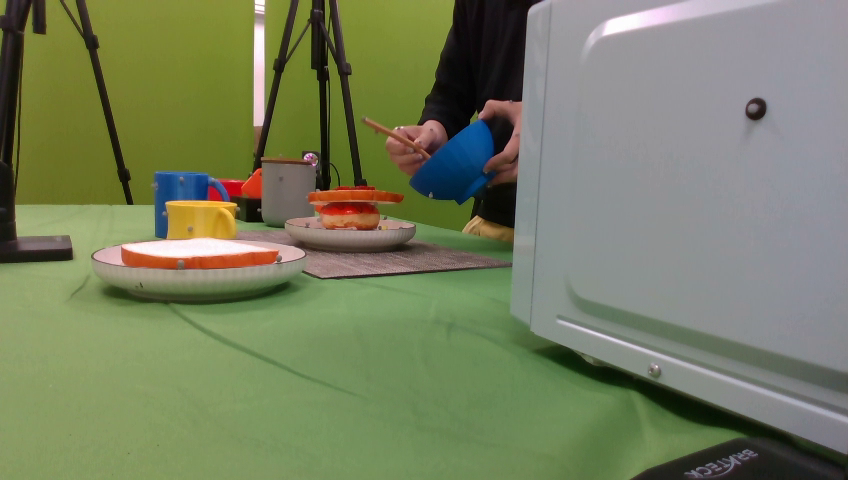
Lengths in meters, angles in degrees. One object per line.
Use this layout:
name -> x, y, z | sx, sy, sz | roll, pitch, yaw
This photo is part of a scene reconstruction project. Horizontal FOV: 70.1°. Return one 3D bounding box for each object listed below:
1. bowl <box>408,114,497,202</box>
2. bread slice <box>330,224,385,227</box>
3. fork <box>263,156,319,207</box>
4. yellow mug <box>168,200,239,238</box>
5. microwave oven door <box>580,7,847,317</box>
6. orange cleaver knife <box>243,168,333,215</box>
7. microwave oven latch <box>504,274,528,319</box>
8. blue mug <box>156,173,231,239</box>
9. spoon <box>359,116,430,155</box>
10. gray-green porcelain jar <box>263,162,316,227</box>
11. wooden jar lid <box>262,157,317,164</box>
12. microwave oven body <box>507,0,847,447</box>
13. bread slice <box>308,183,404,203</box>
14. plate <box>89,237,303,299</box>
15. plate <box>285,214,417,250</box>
bowl -> 0.057, -0.111, 0.916 | 0.151, 0.077, 0.151 | -41, -3, -2
bread slice -> -0.103, -0.010, 0.961 | 0.131, 0.019, 0.105 | 4, 9, 24
fork -> -0.331, -0.144, 1.505 | 0.207, 0.018, 0.028 | -42, -21, 22
yellow mug -> -0.320, -0.023, 0.904 | 0.130, 0.064, 0.100 | 9, 11, 36
microwave oven door -> 0.295, -0.067, 0.570 | 0.358, 0.243, 0.039 | -3, 9, -31
orange cleaver knife -> -0.300, -0.089, 1.351 | 0.212, 0.077, 0.012 | 28, -9, -34
microwave oven latch -> 0.100, 0.041, 0.471 | 0.079, 0.029, 0.030 | -1, 7, -27
blue mug -> -0.381, -0.057, 1.004 | 0.117, 0.106, 0.082 | 0, 8, -12
spoon -> -0.010, -0.139, 0.911 | 0.194, 0.021, 0.041 | 30, 4, -11
gray-green porcelain jar -> -0.271, -0.092, 1.217 | 0.106, 0.126, 0.106 | 2, 7, 0
wooden jar lid -> -0.269, -0.154, 1.208 | 0.108, 0.020, 0.108 | 3, 4, 0
microwave oven body -> 0.331, -0.042, 0.425 | 0.444, 0.260, 0.324 | -2, 8, -31
bread slice -> -0.114, -0.072, 0.954 | 0.134, 0.018, 0.107 | -4, -2, 21
plate -> -0.233, 0.029, 0.637 | 0.208, 0.039, 0.207 | 2, 7, 0
plate -> -0.116, -0.014, 0.964 | 0.209, 0.038, 0.209 | 2, 7, 0
